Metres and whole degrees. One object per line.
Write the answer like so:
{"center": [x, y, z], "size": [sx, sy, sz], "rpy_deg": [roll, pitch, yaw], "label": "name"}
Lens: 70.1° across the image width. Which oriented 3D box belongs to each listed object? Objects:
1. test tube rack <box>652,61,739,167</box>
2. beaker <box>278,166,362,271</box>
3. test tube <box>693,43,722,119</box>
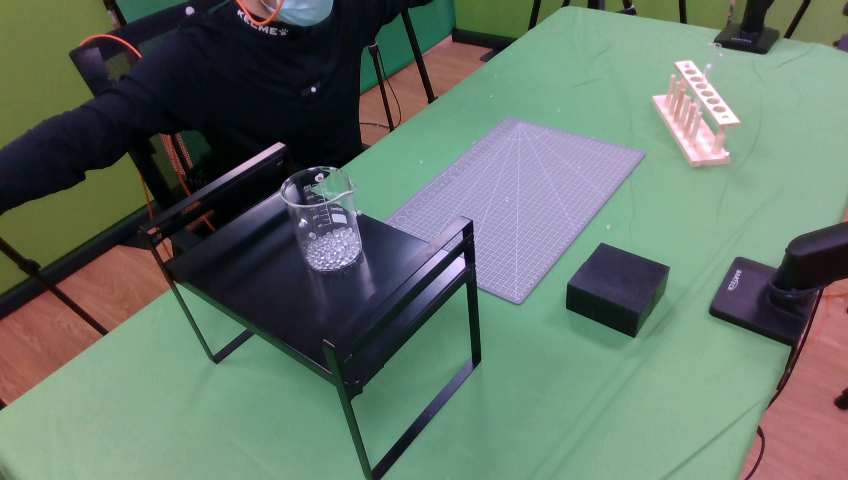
{"center": [0.499, -0.242, 1.130], "size": [0.067, 0.085, 0.241], "rpy_deg": [-5, 41, 4], "label": "test tube rack"}
{"center": [-0.109, -0.022, 0.675], "size": [0.084, 0.101, 0.073], "rpy_deg": [-2, 41, 5], "label": "beaker"}
{"center": [0.513, -0.287, 1.104], "size": [0.017, 0.151, 0.017], "rpy_deg": [-1, 45, 2], "label": "test tube"}
